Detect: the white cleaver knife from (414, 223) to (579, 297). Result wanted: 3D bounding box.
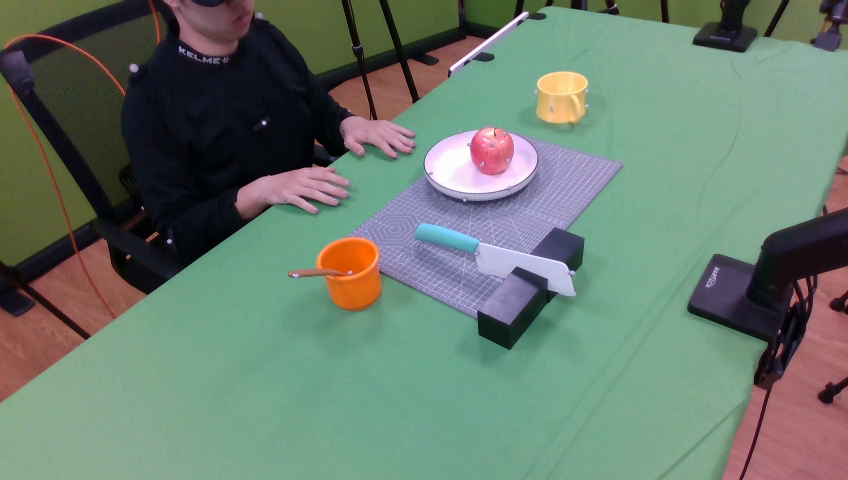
[{"bbox_3d":[0.093,0.028,0.880,0.284,0.066,0.021,17,43,40],"label":"white cleaver knife"}]

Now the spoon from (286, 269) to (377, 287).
[{"bbox_3d":[-0.125,0.049,0.831,0.041,0.195,0.021,22,92,28],"label":"spoon"}]

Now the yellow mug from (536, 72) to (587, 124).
[{"bbox_3d":[0.285,-0.281,1.222,0.100,0.064,0.130,-16,42,-9],"label":"yellow mug"}]

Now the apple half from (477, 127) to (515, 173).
[{"bbox_3d":[0.132,-0.164,1.085,0.053,0.075,0.080,-28,41,-28],"label":"apple half"}]

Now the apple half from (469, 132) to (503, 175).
[{"bbox_3d":[0.102,-0.146,1.067,0.033,0.081,0.080,-28,44,-29],"label":"apple half"}]

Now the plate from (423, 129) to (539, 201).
[{"bbox_3d":[0.103,-0.132,1.092,0.209,0.038,0.208,-4,40,4],"label":"plate"}]
